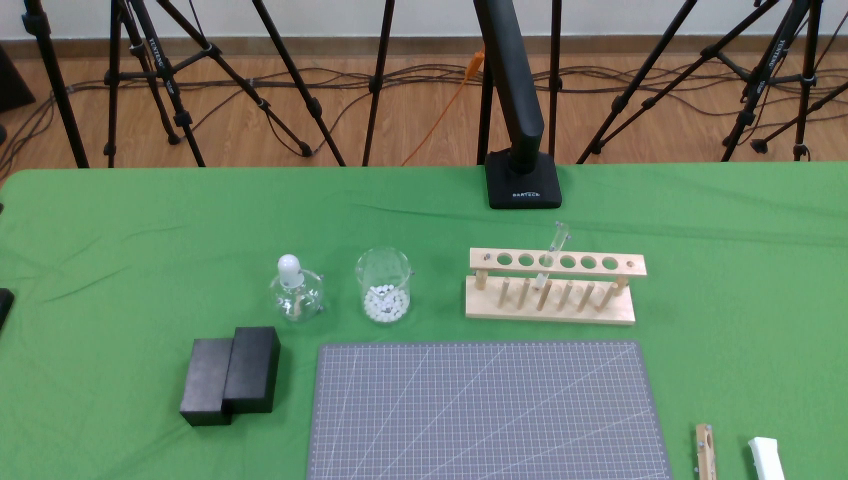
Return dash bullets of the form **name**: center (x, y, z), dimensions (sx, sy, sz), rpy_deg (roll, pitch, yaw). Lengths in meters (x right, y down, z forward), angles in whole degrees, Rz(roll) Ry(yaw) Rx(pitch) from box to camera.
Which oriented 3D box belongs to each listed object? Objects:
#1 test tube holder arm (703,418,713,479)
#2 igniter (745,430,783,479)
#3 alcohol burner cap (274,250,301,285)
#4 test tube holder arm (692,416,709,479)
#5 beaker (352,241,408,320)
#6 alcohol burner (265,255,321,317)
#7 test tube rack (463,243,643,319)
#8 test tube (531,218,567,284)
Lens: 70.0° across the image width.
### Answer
- **test tube holder arm**: center (0.353, 0.268, 0.762), dimensions (0.010, 0.015, 0.087), rpy_deg (28, 52, -21)
- **igniter**: center (0.416, 0.356, 0.693), dimensions (0.057, 0.025, 0.274), rpy_deg (10, 54, -6)
- **alcohol burner cap**: center (-0.184, 0.035, 0.810), dimensions (0.034, 0.048, 0.033), rpy_deg (1, 48, 0)
- **test tube holder arm**: center (0.341, 0.301, 0.734), dimensions (0.013, 0.015, 0.177), rpy_deg (27, 53, -22)
- **beaker**: center (-0.059, 0.063, 0.847), dimensions (0.074, 0.101, 0.083), rpy_deg (2, 55, 0)
- **alcohol burner**: center (-0.184, 0.056, 0.840), dimensions (0.078, 0.120, 0.077), rpy_deg (1, 52, -1)
- **test tube rack**: center (0.179, 0.059, 0.864), dimensions (0.242, 0.086, 0.066), rpy_deg (2, 55, 0)
- **test tube**: center (0.169, 0.019, 0.831), dimensions (0.017, 0.151, 0.017), rpy_deg (2, 56, -3)
